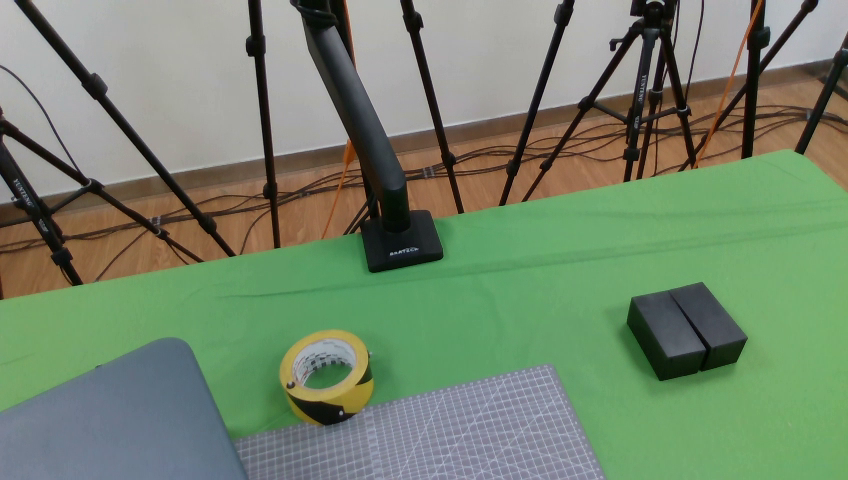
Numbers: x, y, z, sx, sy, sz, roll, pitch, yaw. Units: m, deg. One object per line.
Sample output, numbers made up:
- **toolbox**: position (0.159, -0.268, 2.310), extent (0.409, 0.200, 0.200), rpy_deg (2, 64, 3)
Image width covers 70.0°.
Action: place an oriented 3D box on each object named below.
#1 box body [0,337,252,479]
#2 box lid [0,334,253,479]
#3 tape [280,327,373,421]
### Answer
- **box body**: position (-0.343, 0.297, 0.574), extent (0.364, 0.162, 0.251), rpy_deg (-26, 47, -20)
- **box lid**: position (-0.346, 0.242, 0.522), extent (0.372, 0.015, 0.260), rpy_deg (-26, 48, -21)
- **tape**: position (-0.124, 0.169, 0.770), extent (0.117, 0.053, 0.115), rpy_deg (-3, 41, 3)
